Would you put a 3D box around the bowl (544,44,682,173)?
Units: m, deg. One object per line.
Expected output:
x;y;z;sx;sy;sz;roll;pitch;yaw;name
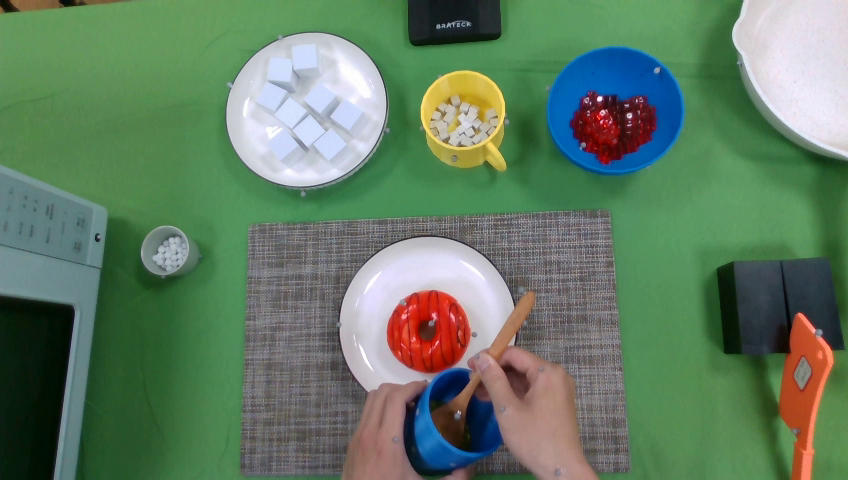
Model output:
0.215;-0.142;0.713;0.151;0.077;0.151;-1;80;6;bowl

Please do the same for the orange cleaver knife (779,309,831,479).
0.393;0.178;0.636;0.012;0.077;0.212;-3;108;6;orange cleaver knife

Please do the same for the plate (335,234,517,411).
0.003;0.096;0.708;0.209;0.038;0.208;-1;80;6;plate

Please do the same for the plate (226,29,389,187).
-0.146;-0.165;0.773;0.207;0.039;0.207;-1;80;6;plate

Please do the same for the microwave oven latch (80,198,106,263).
-0.419;-0.012;0.753;0.030;0.029;0.079;4;81;6;microwave oven latch

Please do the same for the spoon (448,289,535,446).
0.048;0.125;0.554;0.041;0.021;0.194;34;109;10;spoon

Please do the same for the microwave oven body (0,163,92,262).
-0.582;0.142;0.644;0.326;0.261;0.440;1;81;5;microwave oven body

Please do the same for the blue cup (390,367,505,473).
0.015;0.183;0.590;0.093;0.100;0.091;19;48;-22;blue cup

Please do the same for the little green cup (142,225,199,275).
-0.314;0.015;0.757;0.061;0.039;0.061;-1;81;5;little green cup

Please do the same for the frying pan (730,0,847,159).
0.494;-0.126;0.669;0.306;0.103;0.485;3;72;7;frying pan

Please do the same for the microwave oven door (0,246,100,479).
-0.439;0.185;0.616;0.039;0.245;0.354;1;80;6;microwave oven door

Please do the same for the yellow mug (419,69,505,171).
0.056;-0.136;0.734;0.100;0.064;0.130;-39;79;-2;yellow mug

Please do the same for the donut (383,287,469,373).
0.003;0.103;0.695;0.099;0.048;0.099;-1;83;7;donut
